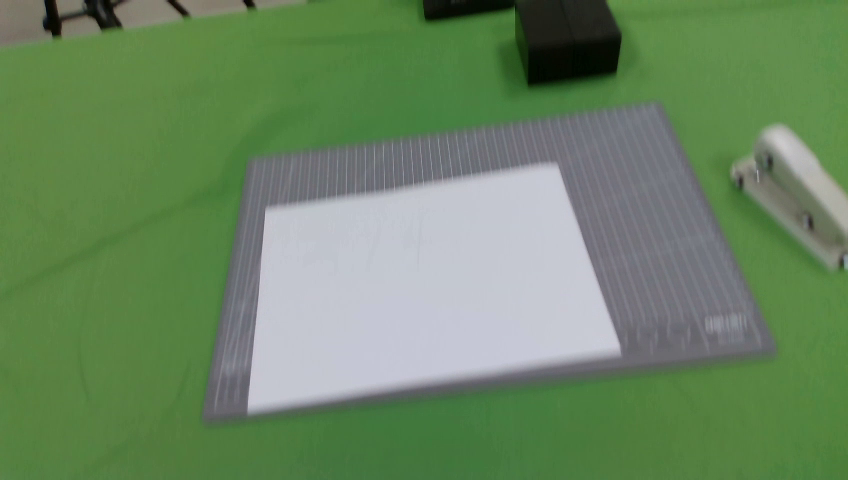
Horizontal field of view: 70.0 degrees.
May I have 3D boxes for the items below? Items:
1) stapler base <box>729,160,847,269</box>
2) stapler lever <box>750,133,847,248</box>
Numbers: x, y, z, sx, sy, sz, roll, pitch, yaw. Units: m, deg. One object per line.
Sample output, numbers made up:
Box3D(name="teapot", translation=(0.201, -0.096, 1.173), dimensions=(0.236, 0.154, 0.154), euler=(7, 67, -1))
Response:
Box3D(name="stapler base", translation=(0.329, -0.032, 0.536), dimensions=(0.041, 0.025, 0.129), euler=(-24, 53, -8))
Box3D(name="stapler lever", translation=(0.327, -0.046, 0.517), dimensions=(0.027, 0.040, 0.116), euler=(-24, 52, -8))
